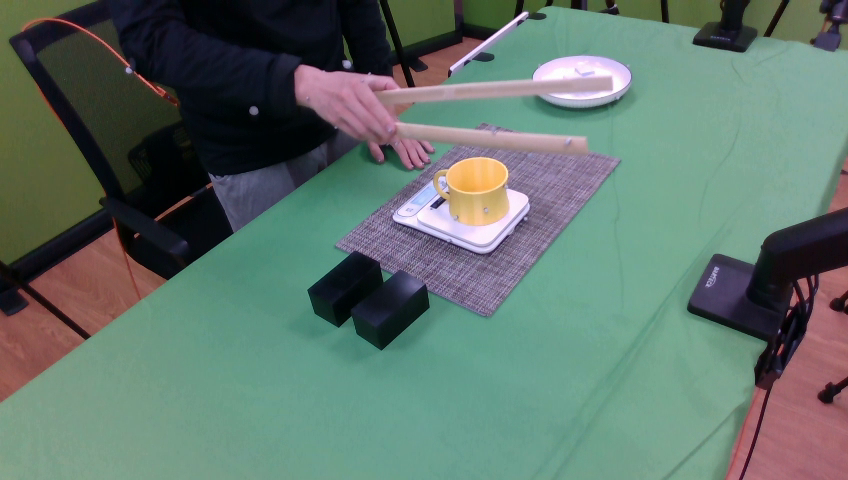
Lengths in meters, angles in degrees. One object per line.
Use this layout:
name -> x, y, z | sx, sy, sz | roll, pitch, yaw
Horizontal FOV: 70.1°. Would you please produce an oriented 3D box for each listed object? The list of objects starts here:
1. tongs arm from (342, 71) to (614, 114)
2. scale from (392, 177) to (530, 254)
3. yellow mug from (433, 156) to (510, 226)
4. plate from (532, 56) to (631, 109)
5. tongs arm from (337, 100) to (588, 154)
tongs arm -> 0.062, -0.205, 0.839 | 0.385, 0.028, 0.028 | 1, 54, 22
scale -> 0.060, -0.050, 1.006 | 0.199, 0.032, 0.149 | 22, 48, 30
yellow mug -> 0.072, -0.082, 0.969 | 0.130, 0.064, 0.100 | 13, 46, 24
plate -> 0.336, -0.336, 1.301 | 0.207, 0.039, 0.206 | -4, 41, 4
tongs arm -> 0.034, -0.152, 0.799 | 0.382, 0.027, 0.051 | 10, 54, 29
